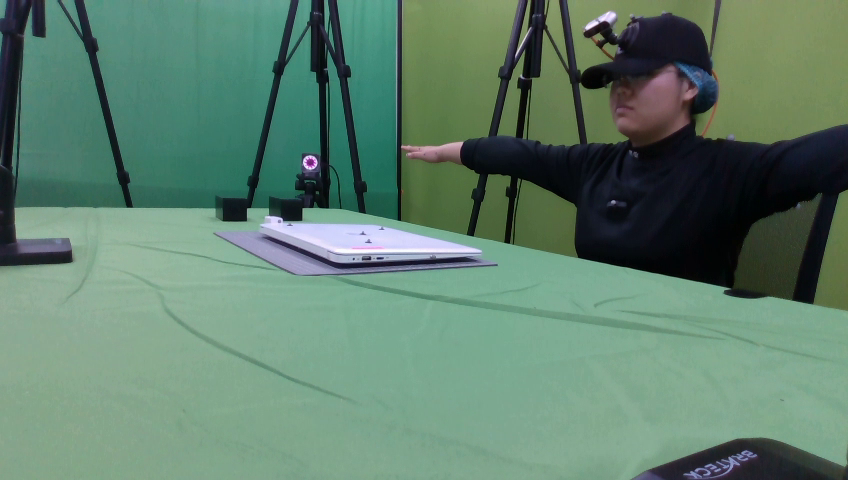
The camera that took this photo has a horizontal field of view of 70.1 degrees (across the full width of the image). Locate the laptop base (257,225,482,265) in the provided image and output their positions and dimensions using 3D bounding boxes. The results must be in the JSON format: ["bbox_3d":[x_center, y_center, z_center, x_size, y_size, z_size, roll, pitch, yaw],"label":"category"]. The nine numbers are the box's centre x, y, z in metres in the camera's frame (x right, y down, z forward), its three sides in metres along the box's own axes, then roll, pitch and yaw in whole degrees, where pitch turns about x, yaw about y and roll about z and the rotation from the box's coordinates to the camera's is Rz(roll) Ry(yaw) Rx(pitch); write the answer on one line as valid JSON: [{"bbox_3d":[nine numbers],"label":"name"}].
[{"bbox_3d":[-0.102,0.006,0.962,0.237,0.023,0.352,2,6,-32],"label":"laptop base"}]

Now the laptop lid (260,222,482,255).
[{"bbox_3d":[-0.099,-0.005,0.962,0.243,0.013,0.355,1,7,-30],"label":"laptop lid"}]

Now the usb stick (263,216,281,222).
[{"bbox_3d":[-0.269,-0.028,1.081,0.021,0.027,0.059,-2,11,-30],"label":"usb stick"}]
